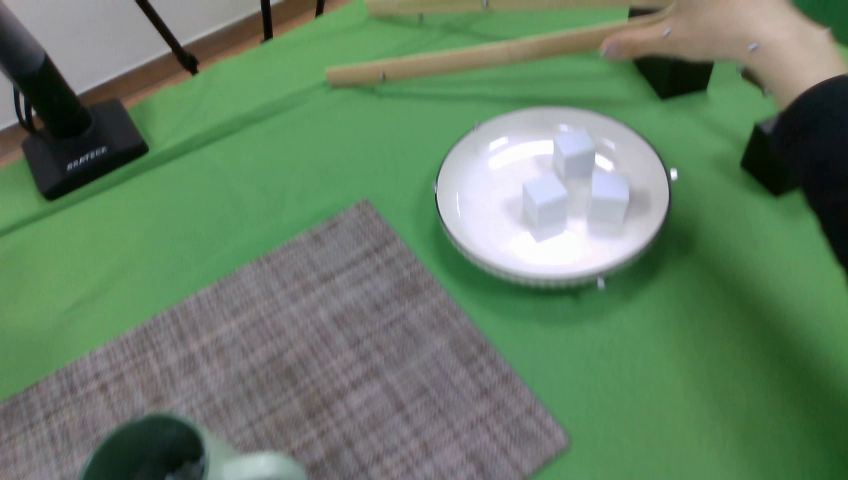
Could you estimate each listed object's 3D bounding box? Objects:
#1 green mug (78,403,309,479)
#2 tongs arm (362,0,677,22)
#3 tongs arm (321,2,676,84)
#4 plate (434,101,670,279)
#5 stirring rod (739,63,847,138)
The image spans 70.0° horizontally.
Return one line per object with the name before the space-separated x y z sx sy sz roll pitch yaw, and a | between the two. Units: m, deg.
green mug | -0.137 0.158 0.388 0.125 0.106 0.091 -12 51 -2
tongs arm | 0.089 -0.269 0.701 0.383 0.027 0.050 7 53 23
tongs arm | 0.068 -0.207 0.658 0.386 0.028 0.028 -4 46 16
plate | 0.114 -0.047 0.557 0.207 0.039 0.205 -4 52 5
stirring rod | 0.344 -0.108 0.521 0.006 0.014 0.174 -27 53 -17
